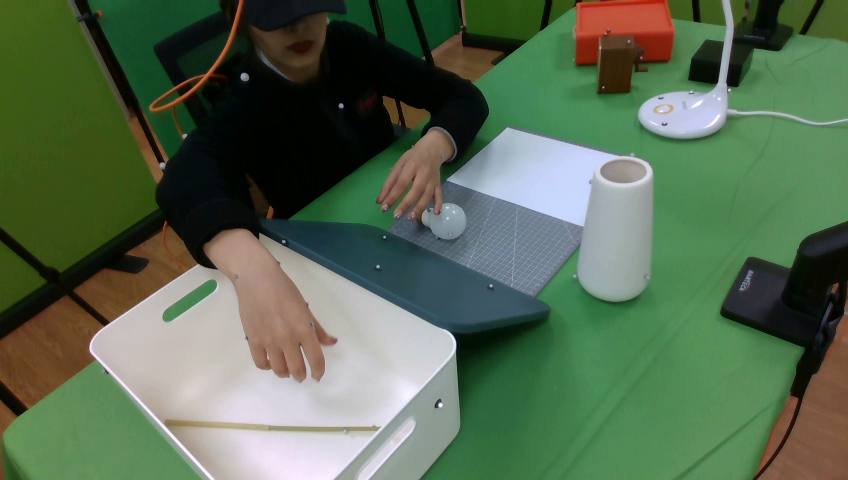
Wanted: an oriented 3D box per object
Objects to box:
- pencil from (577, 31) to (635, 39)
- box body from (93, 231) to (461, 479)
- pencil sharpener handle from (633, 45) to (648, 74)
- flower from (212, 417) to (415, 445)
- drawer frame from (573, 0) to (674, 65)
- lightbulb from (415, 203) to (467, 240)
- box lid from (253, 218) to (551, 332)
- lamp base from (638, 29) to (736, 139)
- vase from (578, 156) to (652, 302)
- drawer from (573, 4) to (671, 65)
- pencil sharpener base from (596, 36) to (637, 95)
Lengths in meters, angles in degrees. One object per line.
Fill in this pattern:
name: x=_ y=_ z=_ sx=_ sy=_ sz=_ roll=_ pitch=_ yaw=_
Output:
pencil: x=0.431 y=-0.489 z=1.443 sx=0.012 sy=0.012 sz=0.192 roll=-25 pitch=30 yaw=-18
box body: x=-0.162 y=0.170 z=0.708 sx=0.361 sy=0.161 sz=0.255 roll=25 pitch=50 yaw=34
pencil sharpener handle: x=0.454 y=-0.378 z=1.262 sx=0.030 sy=0.068 sz=0.036 roll=1 pitch=47 yaw=13
flower: x=-0.153 y=0.228 z=0.744 sx=0.360 sy=0.038 sz=0.044 roll=-2 pitch=41 yaw=17
drawer frame: x=0.464 y=-0.492 z=1.434 sx=0.213 sy=0.083 sz=0.201 roll=1 pitch=40 yaw=12
lightbulb: x=0.024 y=-0.034 z=0.998 sx=0.060 sy=0.060 sz=0.107 roll=-38 pitch=33 yaw=-30
box lid: x=-0.031 y=0.037 z=0.833 sx=0.368 sy=0.015 sz=0.265 roll=24 pitch=12 yaw=33
lamp base: x=0.501 y=-0.302 z=1.125 sx=0.179 sy=0.181 sz=0.160 roll=-4 pitch=40 yaw=3
vase: x=0.261 y=-0.011 z=0.812 sx=0.098 sy=0.201 sz=0.097 roll=-4 pitch=40 yaw=4
drawer: x=0.461 y=-0.490 z=1.434 sx=0.211 sy=0.073 sz=0.194 roll=2 pitch=40 yaw=12
pencil sharpener base: x=0.406 y=-0.369 z=1.280 sx=0.076 sy=0.107 sz=0.061 roll=1 pitch=41 yaw=13
